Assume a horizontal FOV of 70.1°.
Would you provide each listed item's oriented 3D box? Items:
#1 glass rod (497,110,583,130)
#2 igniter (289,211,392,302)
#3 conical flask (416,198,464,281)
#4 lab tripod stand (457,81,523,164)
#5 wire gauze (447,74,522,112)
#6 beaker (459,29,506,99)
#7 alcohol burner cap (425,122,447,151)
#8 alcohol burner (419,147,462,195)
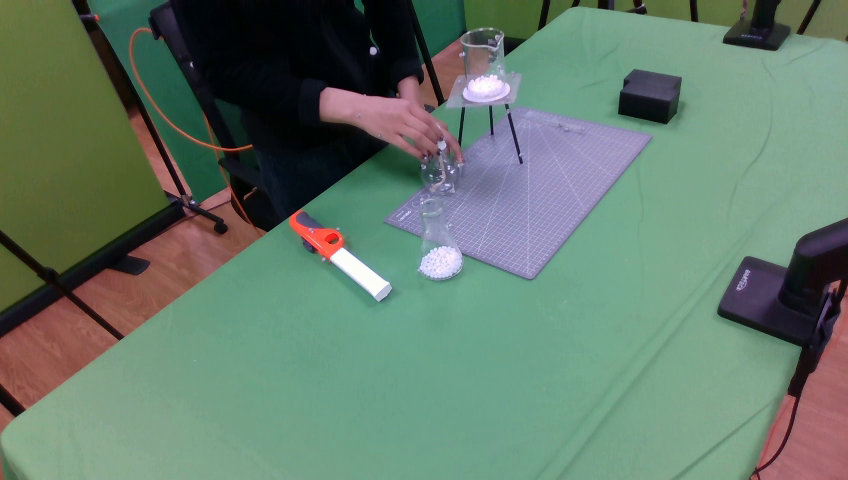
[{"bbox_3d":[0.233,-0.245,1.235,0.198,0.008,0.008,20,49,35],"label":"glass rod"},{"bbox_3d":[-0.146,0.019,0.986,0.057,0.025,0.274,-40,48,-18],"label":"igniter"},{"bbox_3d":[0.019,-0.004,0.907,0.075,0.122,0.075,-5,40,5],"label":"conical flask"},{"bbox_3d":[0.120,-0.219,1.130,0.148,0.132,0.147,-7,39,6],"label":"lab tripod stand"},{"bbox_3d":[0.110,-0.268,1.087,0.121,0.011,0.125,1,42,15],"label":"wire gauze"},{"bbox_3d":[0.107,-0.305,1.056,0.074,0.101,0.083,-27,43,-18],"label":"beaker"},{"bbox_3d":[0.018,-0.178,1.031,0.034,0.048,0.033,-10,42,9],"label":"alcohol burner cap"},{"bbox_3d":[0.028,-0.139,1.068,0.078,0.119,0.077,-4,40,4],"label":"alcohol burner"}]
